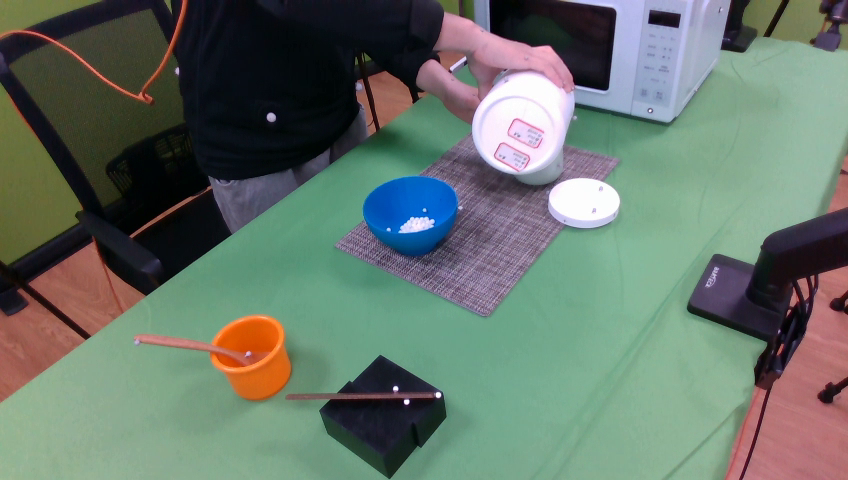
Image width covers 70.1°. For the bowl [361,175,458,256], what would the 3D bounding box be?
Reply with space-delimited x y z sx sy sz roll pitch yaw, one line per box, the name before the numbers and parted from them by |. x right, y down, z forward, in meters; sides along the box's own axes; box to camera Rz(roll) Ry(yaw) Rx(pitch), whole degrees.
bowl | -0.019 -0.028 0.955 0.151 0.077 0.150 -4 40 4

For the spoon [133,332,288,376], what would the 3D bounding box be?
spoon | -0.257 0.137 0.747 0.021 0.195 0.041 -47 40 23

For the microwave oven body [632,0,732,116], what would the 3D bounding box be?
microwave oven body | 0.377 -0.462 1.267 0.438 0.261 0.327 21 48 30

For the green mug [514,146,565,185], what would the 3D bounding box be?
green mug | 0.185 -0.162 1.061 0.124 0.105 0.092 15 46 25

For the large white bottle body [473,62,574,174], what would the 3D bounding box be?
large white bottle body | 0.155 -0.191 0.905 0.130 0.131 0.184 6 30 16

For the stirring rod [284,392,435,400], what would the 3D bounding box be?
stirring rod | -0.075 0.180 0.698 0.176 0.006 0.014 -2 6 6

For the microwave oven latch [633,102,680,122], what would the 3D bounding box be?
microwave oven latch | 0.444 -0.249 1.157 0.078 0.029 0.030 21 49 30

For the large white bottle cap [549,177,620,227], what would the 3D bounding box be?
large white bottle cap | 0.265 -0.064 1.000 0.115 0.018 0.114 -1 43 1

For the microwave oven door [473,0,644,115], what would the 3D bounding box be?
microwave oven door | 0.257 -0.396 1.199 0.353 0.245 0.039 21 48 29
